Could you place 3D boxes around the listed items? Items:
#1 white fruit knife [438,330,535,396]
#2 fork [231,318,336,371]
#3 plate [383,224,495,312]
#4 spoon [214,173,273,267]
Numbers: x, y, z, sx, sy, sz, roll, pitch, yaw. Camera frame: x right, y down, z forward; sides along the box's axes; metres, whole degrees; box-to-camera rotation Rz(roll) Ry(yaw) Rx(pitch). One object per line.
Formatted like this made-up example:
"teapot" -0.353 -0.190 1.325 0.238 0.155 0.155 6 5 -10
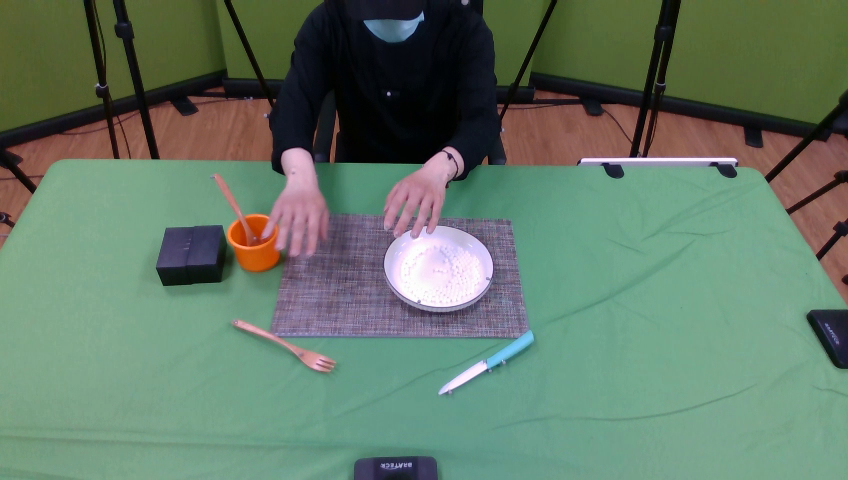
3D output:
"white fruit knife" 0.108 0.206 1.009 0.207 0.016 0.027 -27 30 -22
"fork" -0.239 0.173 1.014 0.207 0.019 0.028 23 54 15
"plate" 0.027 0.055 1.128 0.209 0.038 0.208 2 46 -2
"spoon" -0.336 -0.037 1.121 0.041 0.194 0.021 -30 10 -27
